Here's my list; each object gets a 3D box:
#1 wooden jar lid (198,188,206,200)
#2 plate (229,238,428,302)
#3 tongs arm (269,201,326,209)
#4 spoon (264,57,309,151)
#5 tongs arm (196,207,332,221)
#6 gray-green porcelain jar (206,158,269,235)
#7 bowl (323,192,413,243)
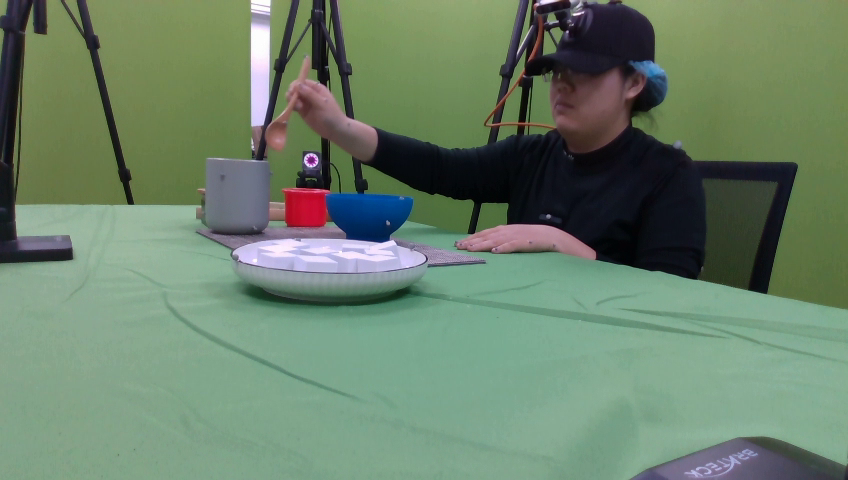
[{"bbox_3d":[-0.382,-0.088,1.175,0.108,0.020,0.108,3,8,0],"label":"wooden jar lid"},{"bbox_3d":[-0.099,0.032,0.651,0.209,0.038,0.209,3,8,0],"label":"plate"},{"bbox_3d":[-0.308,-0.073,1.410,0.386,0.026,0.050,3,8,-6],"label":"tongs arm"},{"bbox_3d":[-0.237,-0.242,1.068,0.021,0.193,0.042,3,-23,44],"label":"spoon"},{"bbox_3d":[-0.294,-0.057,1.331,0.389,0.028,0.028,0,6,-20],"label":"tongs arm"},{"bbox_3d":[-0.323,-0.076,1.048,0.106,0.126,0.106,3,7,0],"label":"gray-green porcelain jar"},{"bbox_3d":[-0.094,-0.037,1.015,0.151,0.077,0.151,3,7,0],"label":"bowl"}]
